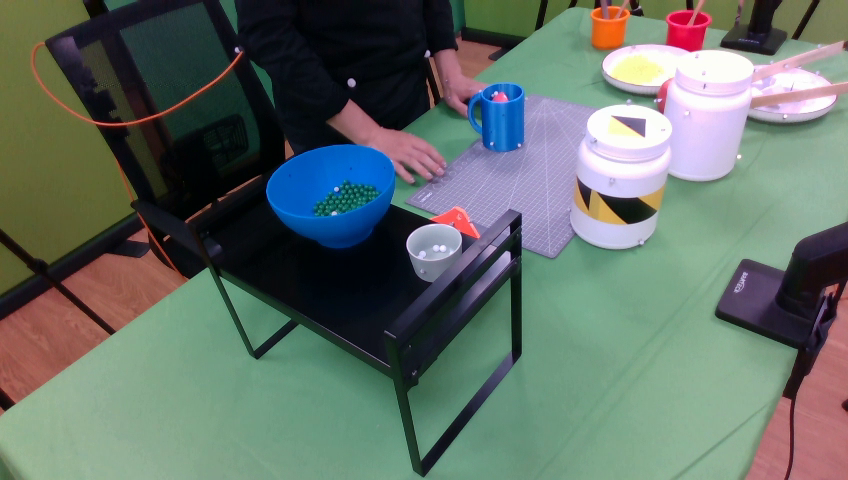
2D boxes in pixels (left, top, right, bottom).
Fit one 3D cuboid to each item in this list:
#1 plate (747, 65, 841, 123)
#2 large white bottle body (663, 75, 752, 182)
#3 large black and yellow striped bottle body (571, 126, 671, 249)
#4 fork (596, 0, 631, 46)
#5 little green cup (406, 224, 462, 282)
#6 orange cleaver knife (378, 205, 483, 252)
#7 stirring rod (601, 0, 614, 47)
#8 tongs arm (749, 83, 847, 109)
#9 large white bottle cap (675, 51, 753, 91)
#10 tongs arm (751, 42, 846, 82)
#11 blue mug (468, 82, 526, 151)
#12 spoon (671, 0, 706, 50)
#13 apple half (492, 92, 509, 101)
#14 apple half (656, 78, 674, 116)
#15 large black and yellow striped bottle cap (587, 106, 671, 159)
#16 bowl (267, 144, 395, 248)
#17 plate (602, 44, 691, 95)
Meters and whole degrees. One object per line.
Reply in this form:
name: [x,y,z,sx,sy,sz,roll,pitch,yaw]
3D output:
plate: [0.695,-0.283,1.189,0.207,0.039,0.206,-4,40,4]
large white bottle body: [0.472,-0.207,1.022,0.130,0.185,0.130,-4,41,4]
large black and yellow striped bottle body: [0.296,-0.093,0.915,0.131,0.185,0.130,-3,42,3]
fork: [0.481,-0.556,1.453,0.028,0.019,0.207,40,103,38]
little green cup: [0.012,0.015,0.668,0.061,0.039,0.061,-4,40,4]
orange cleaver knife: [0.005,-0.010,0.944,0.210,0.077,0.012,-5,23,47]
stirring rod: [0.440,-0.552,1.463,0.014,0.006,0.175,-7,83,4]
tongs arm: [0.734,-0.280,1.133,0.388,0.028,0.028,-9,47,-5]
large white bottle cap: [0.463,-0.271,0.967,0.115,0.018,0.114,-4,40,3]
tongs arm: [0.708,-0.331,1.193,0.386,0.026,0.050,-18,45,-16]
blue mug: [0.139,-0.242,1.170,0.116,0.106,0.082,14,45,24]
spoon: [0.628,-0.520,1.394,0.041,0.022,0.193,30,97,34]
apple half: [0.143,-0.240,1.159,0.033,0.081,0.080,-11,40,-13]
apple half: [0.488,-0.281,1.192,0.053,0.075,0.081,24,54,37]
large black and yellow striped bottle cap: [0.290,-0.154,0.858,0.115,0.019,0.114,-4,42,4]
bowl: [-0.104,-0.043,0.726,0.151,0.077,0.150,-4,40,4]
plate: [0.494,-0.367,1.317,0.209,0.038,0.208,-4,40,4]
